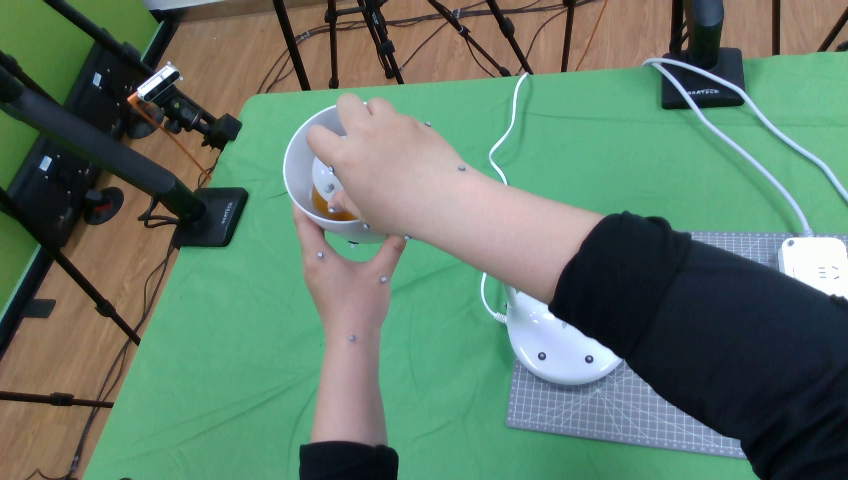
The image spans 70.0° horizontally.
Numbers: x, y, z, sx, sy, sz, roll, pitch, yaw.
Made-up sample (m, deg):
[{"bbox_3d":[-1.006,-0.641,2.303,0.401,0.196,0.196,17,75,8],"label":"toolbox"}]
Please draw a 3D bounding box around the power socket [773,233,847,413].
[{"bbox_3d":[0.467,0.090,0.720,0.072,0.033,0.225,1,59,18],"label":"power socket"}]

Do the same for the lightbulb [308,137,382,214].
[{"bbox_3d":[-0.061,-0.048,0.518,0.059,0.108,0.059,-2,74,8],"label":"lightbulb"}]

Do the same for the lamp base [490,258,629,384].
[{"bbox_3d":[0.154,0.074,0.743,0.178,0.182,0.159,-5,58,19],"label":"lamp base"}]

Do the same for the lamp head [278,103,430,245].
[{"bbox_3d":[-0.054,-0.044,0.542,0.112,0.124,0.111,-5,68,12],"label":"lamp head"}]
